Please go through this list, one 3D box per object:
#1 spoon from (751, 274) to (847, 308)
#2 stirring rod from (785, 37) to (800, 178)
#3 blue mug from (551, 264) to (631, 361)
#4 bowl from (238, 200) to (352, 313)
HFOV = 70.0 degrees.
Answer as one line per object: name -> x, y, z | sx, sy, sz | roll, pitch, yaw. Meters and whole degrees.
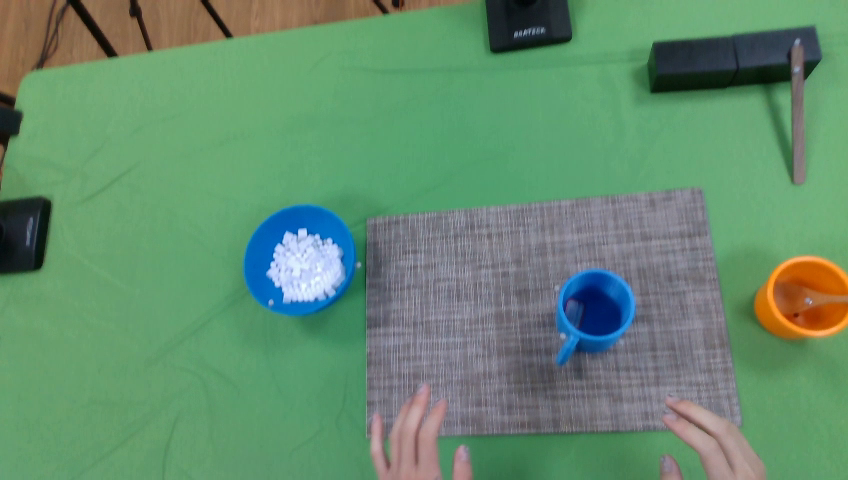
spoon -> 0.456, 0.059, 0.658 | 0.022, 0.192, 0.041 | 27, 75, -28
stirring rod -> 0.467, -0.167, 0.767 | 0.014, 0.006, 0.176 | -2, 92, 6
blue mug -> 0.185, 0.094, 0.714 | 0.082, 0.106, 0.116 | 33, 82, 18
bowl -> -0.161, 0.029, 0.812 | 0.151, 0.077, 0.150 | -3, 74, 9
